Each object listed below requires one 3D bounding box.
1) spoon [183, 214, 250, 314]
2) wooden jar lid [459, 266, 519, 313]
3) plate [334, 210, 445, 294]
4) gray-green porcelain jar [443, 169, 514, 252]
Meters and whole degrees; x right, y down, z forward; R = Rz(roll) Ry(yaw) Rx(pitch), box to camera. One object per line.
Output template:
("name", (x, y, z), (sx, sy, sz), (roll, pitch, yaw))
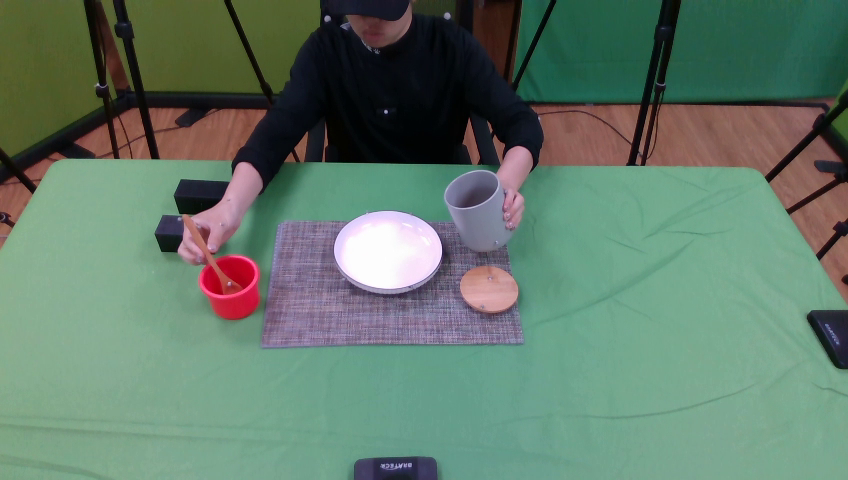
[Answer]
("spoon", (-0.354, 0.040, 1.030), (0.041, 0.194, 0.021), (-25, 17, 5))
("wooden jar lid", (0.118, 0.093, 1.111), (0.108, 0.021, 0.107), (2, 47, -1))
("plate", (-0.066, 0.026, 1.150), (0.208, 0.039, 0.206), (2, 46, -2))
("gray-green porcelain jar", (0.105, -0.049, 1.112), (0.106, 0.127, 0.105), (-15, 42, 14))
